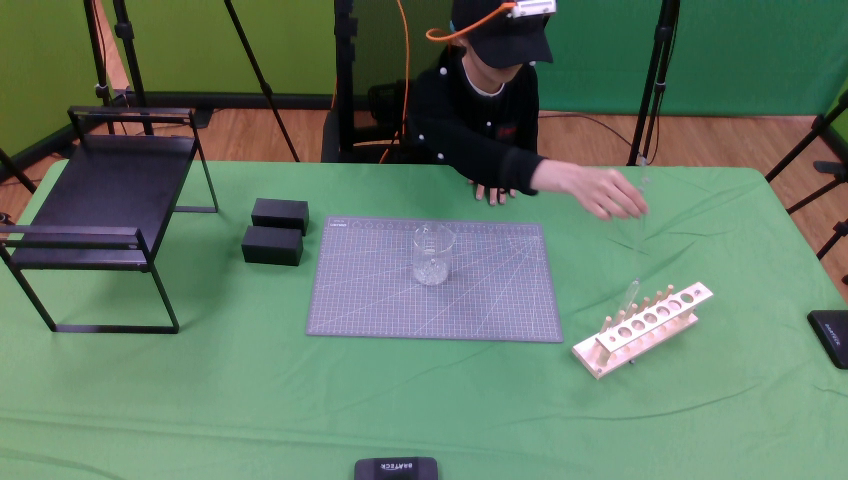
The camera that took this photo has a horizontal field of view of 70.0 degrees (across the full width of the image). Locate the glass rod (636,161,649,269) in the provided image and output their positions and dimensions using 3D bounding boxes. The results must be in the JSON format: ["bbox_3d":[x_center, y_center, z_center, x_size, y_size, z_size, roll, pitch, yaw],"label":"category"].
[{"bbox_3d":[0.340,-0.034,0.942,0.008,0.201,0.008,-7,36,5],"label":"glass rod"}]

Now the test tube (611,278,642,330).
[{"bbox_3d":[0.332,0.113,0.999,0.017,0.151,0.017,1,48,-1],"label":"test tube"}]

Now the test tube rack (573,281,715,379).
[{"bbox_3d":[0.378,0.140,1.038,0.242,0.085,0.066,-22,51,-23],"label":"test tube rack"}]

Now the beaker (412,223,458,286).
[{"bbox_3d":[0.018,0.030,1.109,0.084,0.101,0.073,-10,48,-14],"label":"beaker"}]
